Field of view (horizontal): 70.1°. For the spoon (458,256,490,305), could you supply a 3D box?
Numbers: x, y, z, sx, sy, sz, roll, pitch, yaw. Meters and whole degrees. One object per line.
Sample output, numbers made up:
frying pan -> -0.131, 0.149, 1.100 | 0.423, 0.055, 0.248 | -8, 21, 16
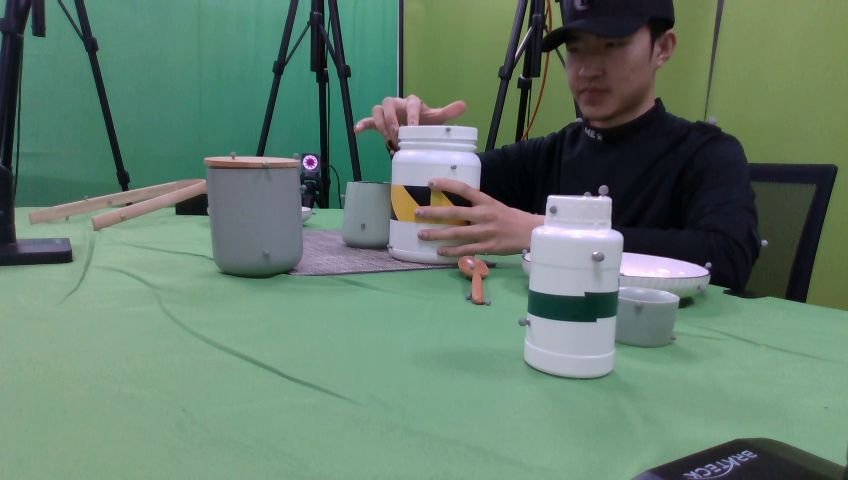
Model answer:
spoon -> 0.059, 0.044, 0.695 | 0.041, 0.021, 0.194 | 17, 7, 1

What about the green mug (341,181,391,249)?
green mug -> -0.090, -0.044, 0.996 | 0.093, 0.105, 0.125 | 1, 7, -9

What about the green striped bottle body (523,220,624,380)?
green striped bottle body -> 0.104, 0.031, 0.422 | 0.063, 0.119, 0.063 | 2, 8, 0

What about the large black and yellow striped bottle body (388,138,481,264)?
large black and yellow striped bottle body -> 0.016, -0.065, 0.872 | 0.131, 0.184, 0.130 | 3, 7, 0

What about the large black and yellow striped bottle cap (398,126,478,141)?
large black and yellow striped bottle cap -> 0.020, -0.152, 0.861 | 0.115, 0.019, 0.115 | 1, 9, 0

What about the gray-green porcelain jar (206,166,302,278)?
gray-green porcelain jar -> -0.201, -0.024, 0.725 | 0.106, 0.126, 0.106 | -1, 9, 1

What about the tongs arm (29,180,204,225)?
tongs arm -> -0.609, -0.083, 1.245 | 0.050, 0.026, 0.386 | 5, 16, 23

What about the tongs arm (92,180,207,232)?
tongs arm -> -0.534, -0.076, 1.221 | 0.028, 0.028, 0.388 | -2, 15, 12

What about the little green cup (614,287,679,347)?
little green cup -> 0.180, 0.064, 0.506 | 0.061, 0.038, 0.061 | 2, 8, 0

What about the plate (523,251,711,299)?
plate -> 0.219, 0.041, 0.706 | 0.209, 0.038, 0.209 | 2, 7, 0

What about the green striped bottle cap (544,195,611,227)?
green striped bottle cap -> 0.105, -0.020, 0.415 | 0.044, 0.020, 0.044 | 2, 5, 0

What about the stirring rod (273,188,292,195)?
stirring rod -> -0.354, -0.122, 1.519 | 0.006, 0.014, 0.176 | 2, 6, 1

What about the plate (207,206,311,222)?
plate -> -0.342, -0.050, 1.259 | 0.208, 0.039, 0.207 | 2, 7, 0

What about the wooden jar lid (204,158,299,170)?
wooden jar lid -> -0.202, -0.086, 0.714 | 0.108, 0.020, 0.108 | 3, 11, 0
